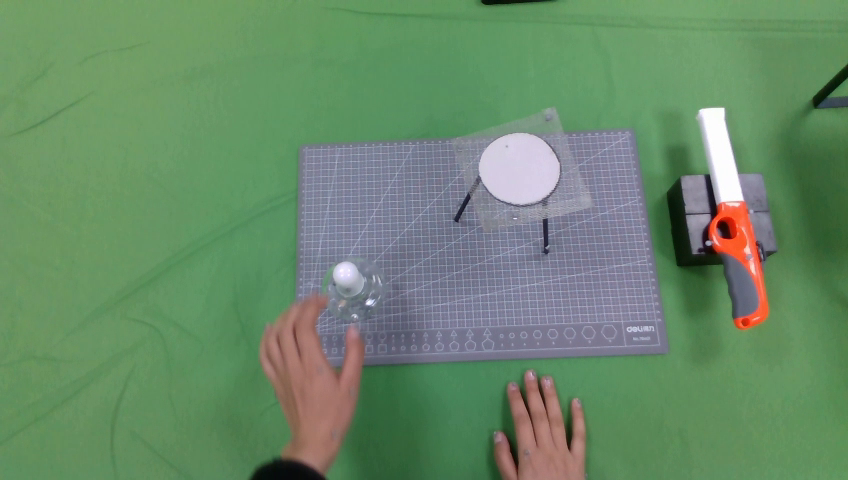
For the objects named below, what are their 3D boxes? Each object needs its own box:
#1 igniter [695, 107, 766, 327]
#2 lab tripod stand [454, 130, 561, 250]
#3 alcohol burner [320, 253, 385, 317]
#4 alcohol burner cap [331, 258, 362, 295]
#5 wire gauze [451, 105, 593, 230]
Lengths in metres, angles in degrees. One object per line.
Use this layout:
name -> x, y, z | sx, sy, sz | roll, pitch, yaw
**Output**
igniter -> 0.358, -0.034, 0.713 | 0.057, 0.025, 0.274 | -2, 70, 3
lab tripod stand -> 0.107, -0.064, 0.719 | 0.148, 0.132, 0.147 | -1, 71, 3
alcohol burner -> -0.085, 0.048, 0.699 | 0.078, 0.119, 0.077 | 0, 74, 0
alcohol burner cap -> -0.087, 0.038, 0.665 | 0.034, 0.048, 0.033 | -1, 68, 2
wire gauze -> 0.104, -0.078, 0.653 | 0.125, 0.011, 0.120 | -15, 73, -3
